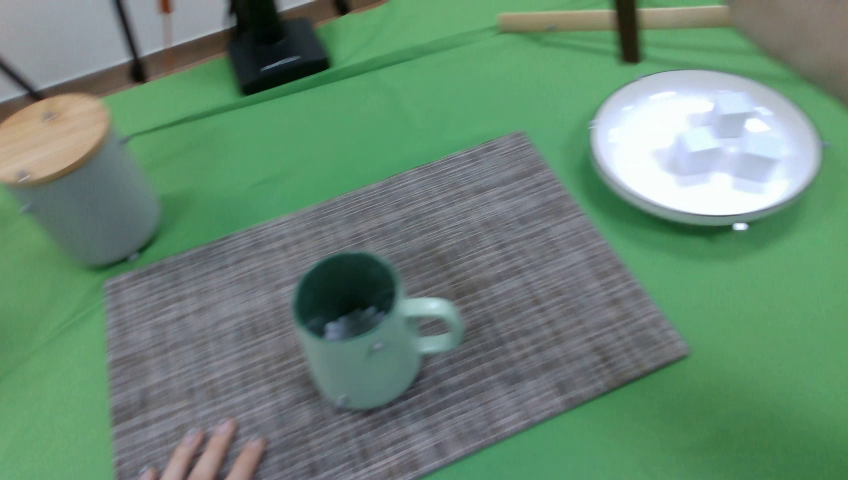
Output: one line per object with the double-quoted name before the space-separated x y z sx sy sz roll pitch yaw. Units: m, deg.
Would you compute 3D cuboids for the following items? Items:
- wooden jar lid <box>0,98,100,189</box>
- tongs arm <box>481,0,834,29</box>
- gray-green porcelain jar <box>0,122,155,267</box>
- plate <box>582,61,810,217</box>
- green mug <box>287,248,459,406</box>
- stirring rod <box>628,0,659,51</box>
"wooden jar lid" -0.338 -0.083 0.533 0.108 0.021 0.107 -3 55 4
"tongs arm" 0.252 -0.266 0.702 0.386 0.028 0.028 5 47 22
"gray-green porcelain jar" -0.331 -0.044 0.581 0.106 0.128 0.105 -4 52 5
"plate" 0.261 -0.099 0.601 0.207 0.039 0.205 -4 52 5
"green mug" -0.036 0.067 0.466 0.125 0.106 0.091 -4 51 4
"stirring rod" 0.098 -0.152 0.285 0.014 0.178 0.006 3 65 26
